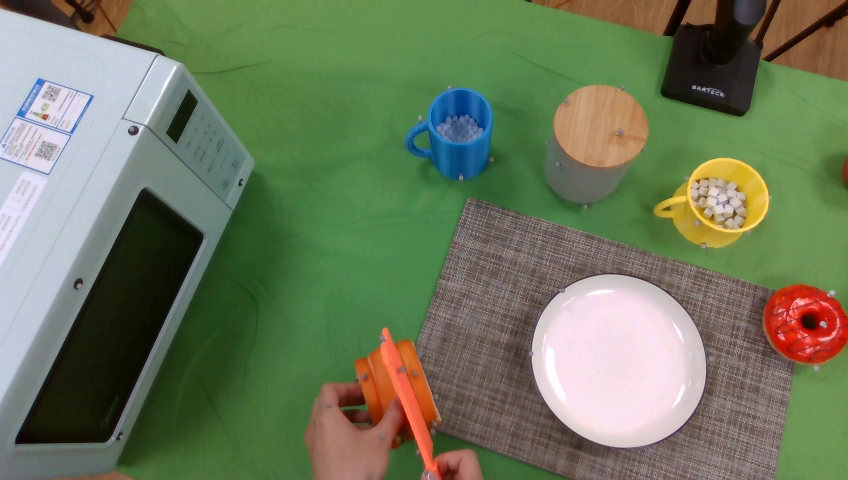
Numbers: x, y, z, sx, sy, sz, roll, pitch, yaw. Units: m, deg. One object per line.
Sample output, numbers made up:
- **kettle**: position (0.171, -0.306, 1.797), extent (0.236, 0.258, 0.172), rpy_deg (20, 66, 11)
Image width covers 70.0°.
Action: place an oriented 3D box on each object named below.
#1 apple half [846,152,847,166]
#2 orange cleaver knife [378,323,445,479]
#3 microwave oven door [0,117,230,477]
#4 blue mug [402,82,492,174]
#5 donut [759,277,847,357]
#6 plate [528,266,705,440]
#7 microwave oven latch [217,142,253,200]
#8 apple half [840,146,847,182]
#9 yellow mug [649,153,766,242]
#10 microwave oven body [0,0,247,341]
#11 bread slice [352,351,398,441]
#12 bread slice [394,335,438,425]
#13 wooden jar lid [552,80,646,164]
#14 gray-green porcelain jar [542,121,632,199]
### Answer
- **apple half**: position (0.596, -0.104, 0.778), extent (0.053, 0.075, 0.080), rpy_deg (-12, 69, -6)
- **orange cleaver knife**: position (-0.005, 0.183, 0.598), extent (0.012, 0.077, 0.211), rpy_deg (-22, 91, 2)
- **microwave oven door**: position (-0.340, 0.074, 0.662), extent (0.039, 0.245, 0.354), rpy_deg (18, 75, 8)
- **blue mug**: position (0.029, -0.143, 0.799), extent (0.116, 0.106, 0.082), rpy_deg (-8, 73, 1)
- **donut**: position (0.460, 0.094, 0.738), extent (0.099, 0.048, 0.098), rpy_deg (-1, 74, 3)
- **plate**: position (0.230, 0.136, 0.740), extent (0.207, 0.039, 0.206), rpy_deg (-1, 74, 3)
- **microwave oven latch**: position (-0.258, -0.095, 0.814), extent (0.030, 0.029, 0.079), rpy_deg (21, 76, 8)
- **apple half**: position (0.559, -0.094, 0.775), extent (0.033, 0.081, 0.081), rpy_deg (-13, 73, -6)
- **yellow mug**: position (0.358, -0.052, 0.778), extent (0.131, 0.064, 0.099), rpy_deg (-5, 73, 2)
- **microwave oven body**: position (-0.462, -0.008, 0.697), extent (0.325, 0.261, 0.440), rpy_deg (18, 76, 8)
- **bread slice**: position (-0.056, 0.175, 0.697), extent (0.018, 0.135, 0.106), rpy_deg (-21, 72, -6)
- **bread slice**: position (-0.009, 0.160, 0.696), extent (0.019, 0.132, 0.104), rpy_deg (-20, 75, -6)
- **wooden jar lid**: position (0.204, -0.136, 0.714), extent (0.108, 0.021, 0.107), rpy_deg (-1, 71, 2)
- **gray-green porcelain jar**: position (0.208, -0.118, 0.773), extent (0.106, 0.127, 0.105), rpy_deg (-1, 73, 3)
